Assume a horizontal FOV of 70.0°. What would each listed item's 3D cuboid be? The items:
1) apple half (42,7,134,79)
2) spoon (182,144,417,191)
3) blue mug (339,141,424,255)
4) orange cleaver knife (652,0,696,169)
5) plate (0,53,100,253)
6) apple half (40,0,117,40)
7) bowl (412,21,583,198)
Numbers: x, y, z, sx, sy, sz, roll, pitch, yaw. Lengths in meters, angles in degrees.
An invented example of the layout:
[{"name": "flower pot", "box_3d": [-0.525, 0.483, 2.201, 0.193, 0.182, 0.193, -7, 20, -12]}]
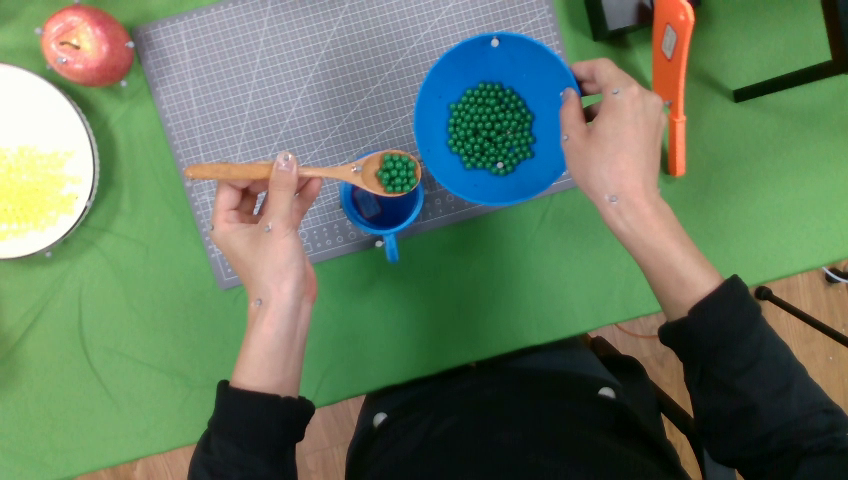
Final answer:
[{"name": "apple half", "box_3d": [-0.335, -0.194, 0.622, 0.081, 0.074, 0.053, -31, 101, -3]}, {"name": "spoon", "box_3d": [-0.099, -0.062, 0.510, 0.195, 0.021, 0.042, -2, 101, -25]}, {"name": "blue mug", "box_3d": [-0.041, -0.042, 0.636, 0.082, 0.105, 0.117, -8, 96, -2]}, {"name": "orange cleaver knife", "box_3d": [0.263, -0.176, 0.649, 0.012, 0.076, 0.213, -17, 128, -2]}, {"name": "plate", "box_3d": [-0.448, -0.092, 0.645, 0.209, 0.038, 0.209, 0, 97, -3]}, {"name": "apple half", "box_3d": [-0.355, -0.227, 0.616, 0.081, 0.081, 0.033, -31, 102, 1]}, {"name": "bowl", "box_3d": [0.070, -0.118, 0.564, 0.151, 0.077, 0.152, 2, 101, 11]}]
